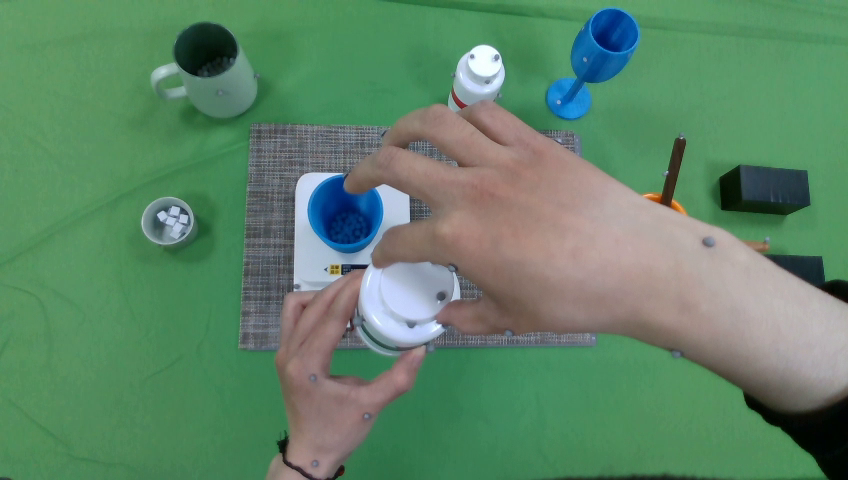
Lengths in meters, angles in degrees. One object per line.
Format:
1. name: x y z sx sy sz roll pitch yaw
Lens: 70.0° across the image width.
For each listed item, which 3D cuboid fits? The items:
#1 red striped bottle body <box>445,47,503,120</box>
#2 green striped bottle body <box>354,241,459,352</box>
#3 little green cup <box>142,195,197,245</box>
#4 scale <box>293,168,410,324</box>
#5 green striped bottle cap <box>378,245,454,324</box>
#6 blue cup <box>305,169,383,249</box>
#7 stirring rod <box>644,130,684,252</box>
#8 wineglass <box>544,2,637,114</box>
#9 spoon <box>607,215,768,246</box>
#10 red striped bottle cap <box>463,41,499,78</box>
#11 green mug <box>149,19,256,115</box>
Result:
1. red striped bottle body: 0.066 -0.212 0.801 0.063 0.120 0.062 1 77 -6
2. green striped bottle body: -0.014 0.039 0.405 0.063 0.119 0.063 2 74 -8
3. little green cup: -0.316 -0.022 0.760 0.062 0.039 0.061 2 76 -7
4. scale: -0.092 0.006 0.777 0.149 0.031 0.200 -1 78 -6
5. green striped bottle cap: -0.005 0.026 0.350 0.044 0.020 0.044 1 76 -3
6. blue cup: -0.093 -0.028 0.717 0.093 0.100 0.092 1 79 -5
7. stirring rod: 0.306 -0.058 0.776 0.014 0.177 0.006 5 36 9
8. wineglass: 0.212 -0.232 0.793 0.074 0.173 0.073 1 77 -5
9. spoon: 0.326 -0.007 0.766 0.022 0.192 0.041 21 80 -46
10. red striped bottle cap: 0.071 -0.224 0.749 0.044 0.018 0.044 1 74 -5
11. green mug: -0.284 -0.213 0.773 0.125 0.105 0.092 -22 80 -10
